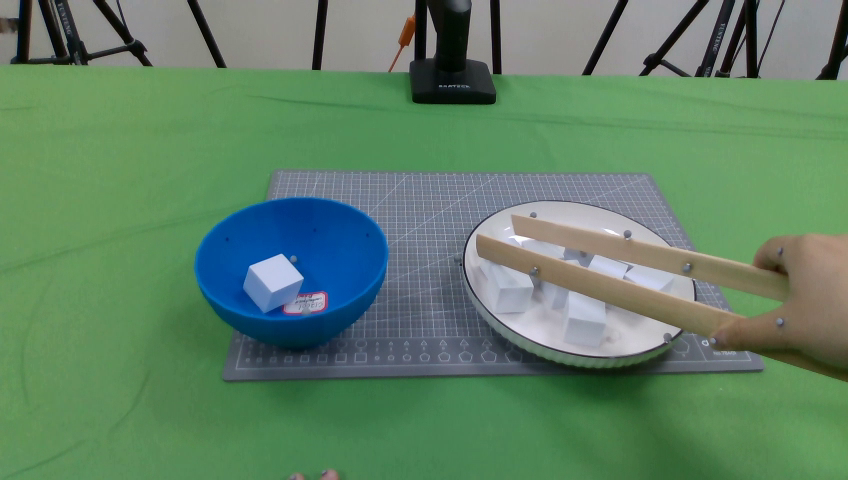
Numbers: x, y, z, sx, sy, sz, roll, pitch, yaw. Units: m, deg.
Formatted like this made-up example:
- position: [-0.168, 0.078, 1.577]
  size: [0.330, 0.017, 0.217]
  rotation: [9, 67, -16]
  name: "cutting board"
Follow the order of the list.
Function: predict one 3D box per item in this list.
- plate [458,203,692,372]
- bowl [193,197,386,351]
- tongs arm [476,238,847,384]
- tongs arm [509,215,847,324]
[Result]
- position: [0.133, 0.041, 0.555]
  size: [0.208, 0.039, 0.205]
  rotation: [3, 40, -2]
  name: "plate"
- position: [-0.106, 0.039, 0.505]
  size: [0.151, 0.077, 0.150]
  rotation: [3, 40, -2]
  name: "bowl"
- position: [0.189, 0.050, 0.424]
  size: [0.384, 0.028, 0.028]
  rotation: [17, 35, 40]
  name: "tongs arm"
- position: [0.211, 0.035, 0.442]
  size: [0.381, 0.027, 0.051]
  rotation: [15, 37, 39]
  name: "tongs arm"
